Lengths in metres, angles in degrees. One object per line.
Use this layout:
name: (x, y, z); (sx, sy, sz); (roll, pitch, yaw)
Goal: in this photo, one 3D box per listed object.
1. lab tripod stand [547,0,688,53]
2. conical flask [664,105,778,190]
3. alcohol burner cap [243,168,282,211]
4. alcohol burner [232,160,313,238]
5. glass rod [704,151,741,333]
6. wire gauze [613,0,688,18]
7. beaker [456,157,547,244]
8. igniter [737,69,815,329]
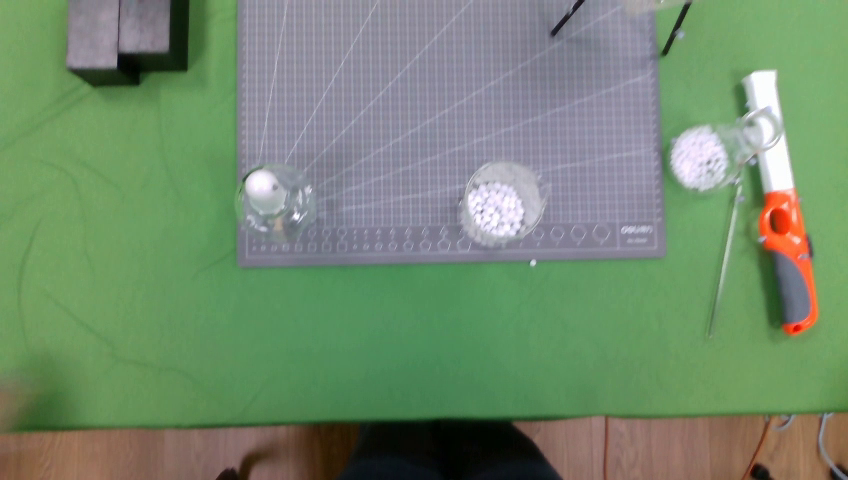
lab tripod stand: (0.205, -0.255, 0.600); (0.148, 0.131, 0.148); (0, 86, -3)
conical flask: (0.295, -0.095, 0.597); (0.075, 0.122, 0.075); (0, 85, -1)
alcohol burner cap: (-0.146, -0.048, 0.543); (0.034, 0.048, 0.033); (2, 77, -8)
alcohol burner: (-0.147, -0.042, 0.578); (0.078, 0.119, 0.077); (0, 83, -3)
glass rod: (0.319, 0.001, 0.647); (0.008, 0.008, 0.199); (13, 84, -1)
wire gauze: (0.209, -0.265, 0.534); (0.125, 0.011, 0.121); (-18, 88, -4)
beaker: (0.072, -0.035, 0.593); (0.084, 0.100, 0.074); (-20, 86, -4)
igniter: (0.373, -0.045, 0.643); (0.057, 0.025, 0.276); (-7, 86, -13)
